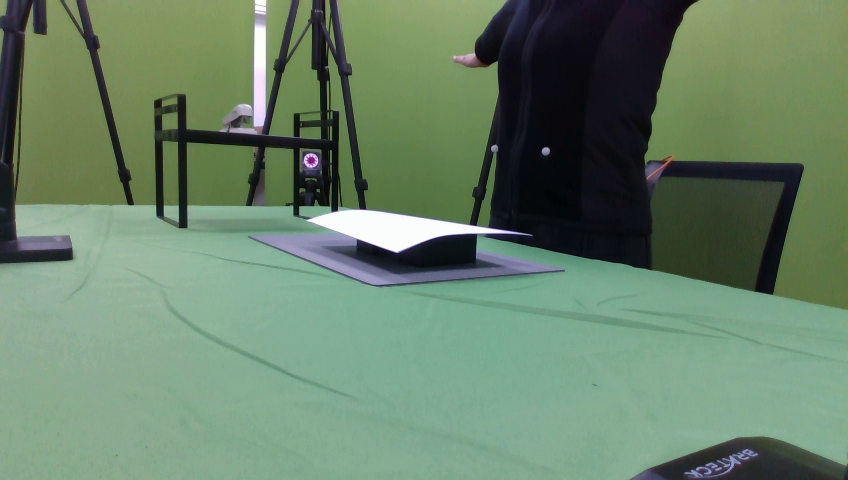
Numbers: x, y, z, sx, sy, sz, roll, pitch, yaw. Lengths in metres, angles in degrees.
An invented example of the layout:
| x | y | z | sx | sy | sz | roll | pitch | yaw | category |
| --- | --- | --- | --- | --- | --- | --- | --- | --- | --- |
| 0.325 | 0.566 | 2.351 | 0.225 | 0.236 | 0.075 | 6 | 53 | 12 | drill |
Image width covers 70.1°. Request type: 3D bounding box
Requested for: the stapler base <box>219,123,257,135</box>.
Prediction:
| x | y | z | sx | sy | sz | roll | pitch | yaw | category |
| --- | --- | --- | --- | --- | --- | --- | --- | --- | --- |
| -0.375 | -0.225 | 1.221 | 0.041 | 0.024 | 0.130 | 1 | 5 | -36 | stapler base |

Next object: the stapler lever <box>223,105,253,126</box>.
| x | y | z | sx | sy | sz | roll | pitch | yaw | category |
| --- | --- | --- | --- | --- | --- | --- | --- | --- | --- |
| -0.376 | -0.250 | 1.219 | 0.027 | 0.040 | 0.117 | 1 | 6 | -36 | stapler lever |
